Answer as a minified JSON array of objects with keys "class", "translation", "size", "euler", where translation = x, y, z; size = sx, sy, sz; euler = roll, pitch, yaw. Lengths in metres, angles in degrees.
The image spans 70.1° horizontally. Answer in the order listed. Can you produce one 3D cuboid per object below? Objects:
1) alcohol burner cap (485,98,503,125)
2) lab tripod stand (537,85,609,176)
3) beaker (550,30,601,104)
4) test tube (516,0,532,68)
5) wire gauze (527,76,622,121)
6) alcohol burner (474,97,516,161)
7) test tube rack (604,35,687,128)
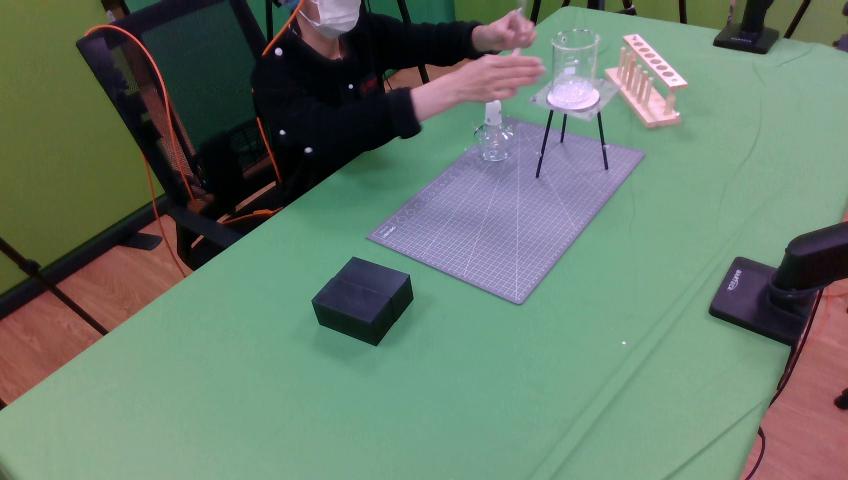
[{"class":"alcohol burner cap","translation":[0.126,-0.234,1.097],"size":[0.034,0.048,0.033],"euler":[-3,39,3]},{"class":"lab tripod stand","translation":[0.259,-0.192,1.068],"size":[0.148,0.132,0.147],"euler":[-4,43,4]},{"class":"beaker","translation":[0.249,-0.285,1.001],"size":[0.084,0.101,0.073],"euler":[-13,43,-5]},{"class":"test tube","translation":[0.190,-0.396,1.155],"size":[0.017,0.151,0.017],"euler":[0,48,1]},{"class":"wire gauze","translation":[0.255,-0.247,1.030],"size":[0.124,0.011,0.122],"euler":[23,49,33]},{"class":"alcohol burner","translation":[0.131,-0.208,1.121],"size":[0.078,0.119,0.077],"euler":[-6,40,5]},{"class":"test tube rack","translation":[0.447,-0.330,1.241],"size":[0.067,0.085,0.241],"euler":[-9,41,-2]}]
